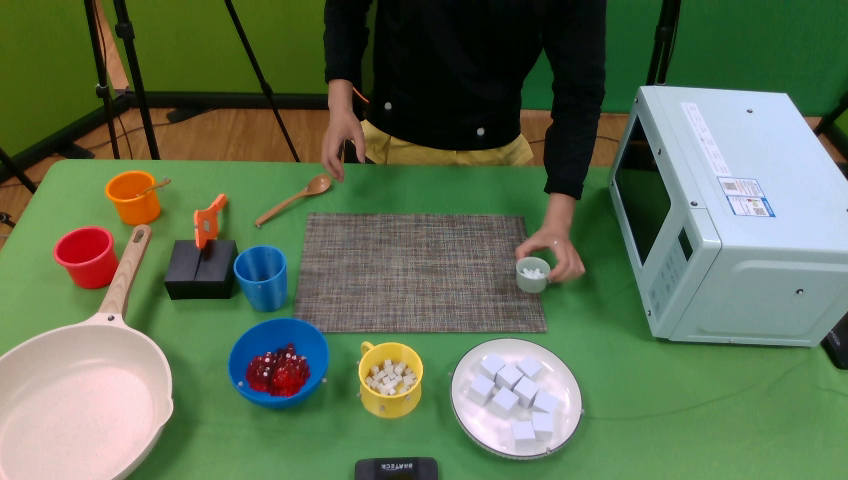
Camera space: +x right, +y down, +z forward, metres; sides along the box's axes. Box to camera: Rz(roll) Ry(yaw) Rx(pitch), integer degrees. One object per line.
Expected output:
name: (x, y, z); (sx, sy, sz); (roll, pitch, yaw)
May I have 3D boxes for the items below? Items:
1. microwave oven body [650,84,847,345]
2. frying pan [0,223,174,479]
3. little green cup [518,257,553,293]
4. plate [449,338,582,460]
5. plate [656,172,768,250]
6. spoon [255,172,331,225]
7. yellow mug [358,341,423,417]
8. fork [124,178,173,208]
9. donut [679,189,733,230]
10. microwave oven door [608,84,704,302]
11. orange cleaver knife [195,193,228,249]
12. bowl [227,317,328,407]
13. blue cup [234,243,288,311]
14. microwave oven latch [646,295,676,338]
microwave oven body: (0.569, -0.054, 1.116); (0.326, 0.261, 0.439); (2, 46, -1)
frying pan: (-0.505, 0.169, 0.941); (0.307, 0.103, 0.485); (5, 54, -1)
little green cup: (0.198, 0.064, 1.084); (0.061, 0.039, 0.061); (-2, 38, 2)
plate: (0.141, 0.251, 0.955); (0.208, 0.039, 0.206); (2, 46, -2)
plate: (0.557, -0.054, 1.186); (0.209, 0.038, 0.208); (1, 45, -1)
spoon: (-0.272, -0.087, 1.257); (0.041, 0.022, 0.193); (43, 57, 16)
yellow mug: (-0.062, 0.210, 0.961); (0.100, 0.064, 0.130); (-29, 54, -27)
fork: (-0.525, -0.090, 1.153); (0.207, 0.019, 0.028); (-17, 27, 45)
donut: (0.545, -0.061, 1.176); (0.099, 0.048, 0.098); (0, 45, 0)
microwave oven door: (0.425, -0.096, 1.138); (0.039, 0.245, 0.353); (2, 47, -1)
orange cleaver knife: (-0.406, -0.041, 1.163); (0.012, 0.077, 0.210); (0, 18, -3)
bowl: (-0.222, 0.203, 0.947); (0.151, 0.077, 0.150); (2, 46, -2)
blue cup: (-0.276, 0.072, 1.052); (0.093, 0.101, 0.092); (1, 48, -1)
microwave oven latch: (0.412, 0.133, 1.060); (0.030, 0.029, 0.078); (3, 46, 0)
